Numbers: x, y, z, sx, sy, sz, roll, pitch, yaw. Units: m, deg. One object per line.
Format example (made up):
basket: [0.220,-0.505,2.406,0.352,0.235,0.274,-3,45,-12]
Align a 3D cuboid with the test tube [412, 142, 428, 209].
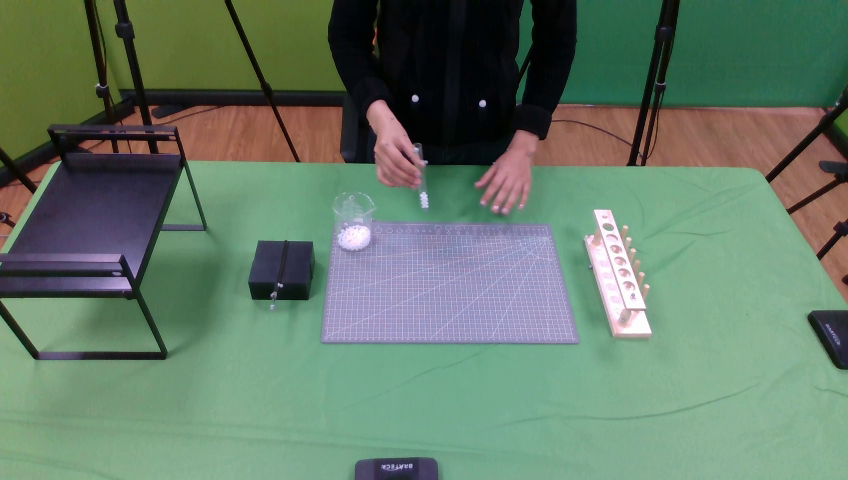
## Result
test tube: [-0.006,-0.115,1.113,0.017,0.151,0.017,-4,45,4]

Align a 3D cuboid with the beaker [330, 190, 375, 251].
beaker: [-0.135,-0.034,1.162,0.084,0.101,0.073,3,46,-3]

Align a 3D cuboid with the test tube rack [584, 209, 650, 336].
test tube rack: [0.365,0.056,1.129,0.067,0.085,0.240,1,46,-3]

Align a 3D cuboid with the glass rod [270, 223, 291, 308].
glass rod: [-0.255,0.041,1.082,0.008,0.008,0.198,2,46,-2]
